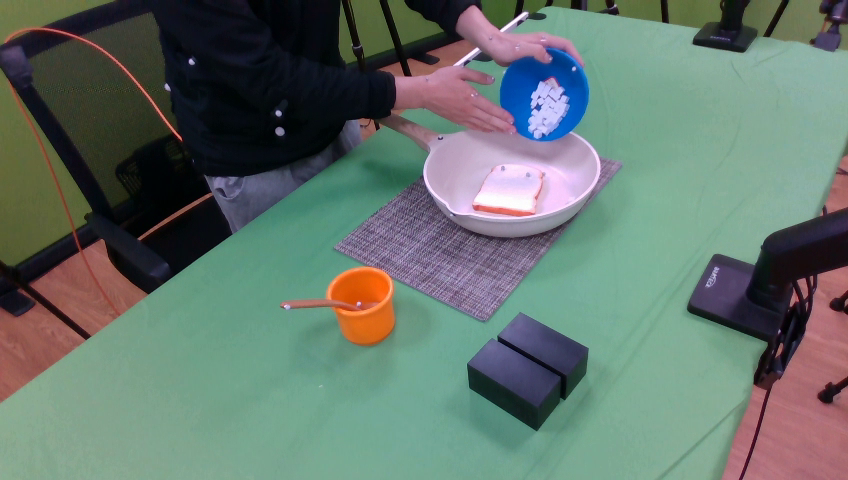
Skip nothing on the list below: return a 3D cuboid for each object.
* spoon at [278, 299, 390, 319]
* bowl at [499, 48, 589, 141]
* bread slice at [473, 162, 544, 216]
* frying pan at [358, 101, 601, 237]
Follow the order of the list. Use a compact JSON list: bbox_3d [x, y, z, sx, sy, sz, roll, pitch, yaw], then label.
[{"bbox_3d":[-0.113,0.086,0.787,0.041,0.021,0.195,28,7,36],"label":"spoon"},{"bbox_3d":[0.210,-0.248,1.013,0.150,0.151,0.077,16,28,24],"label":"bowl"},{"bbox_3d":[0.150,-0.088,1.042,0.106,0.018,0.134,7,45,15],"label":"bread slice"},{"bbox_3d":[0.067,-0.153,1.067,0.484,0.103,0.308,32,52,26],"label":"frying pan"}]
